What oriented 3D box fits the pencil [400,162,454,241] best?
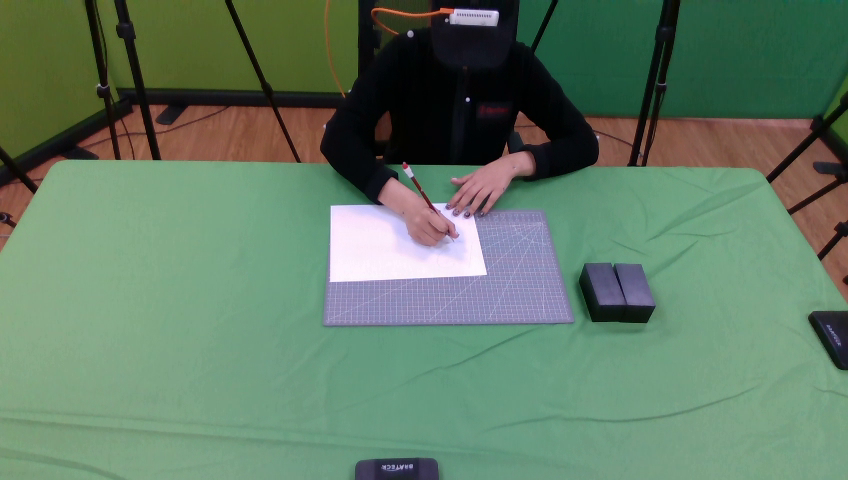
[{"bbox_3d":[0.009,-0.071,1.167,0.012,0.195,0.012,-27,27,15],"label":"pencil"}]
